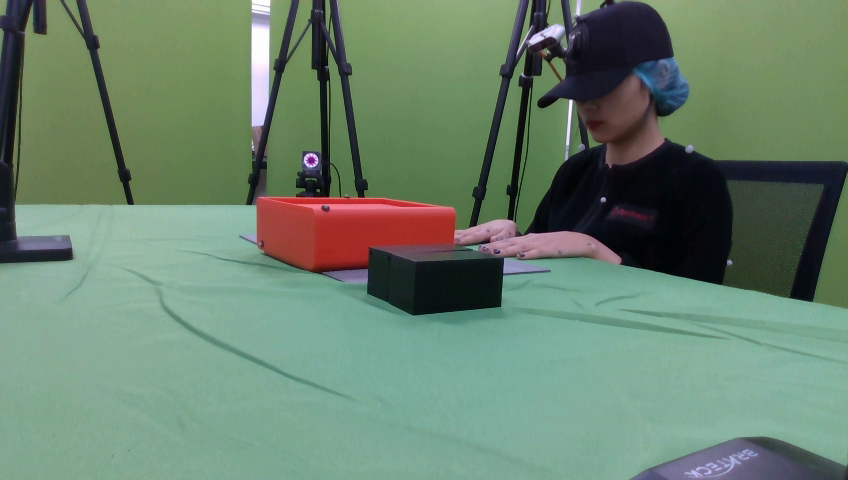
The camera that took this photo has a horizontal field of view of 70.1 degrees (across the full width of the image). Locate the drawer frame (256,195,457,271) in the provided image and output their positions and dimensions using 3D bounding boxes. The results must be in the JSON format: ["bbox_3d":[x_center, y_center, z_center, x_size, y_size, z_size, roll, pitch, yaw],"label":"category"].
[{"bbox_3d":[-0.096,-0.017,0.843,0.215,0.082,0.200,-4,10,-35],"label":"drawer frame"}]

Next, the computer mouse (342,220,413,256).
[{"bbox_3d":[-0.067,-0.004,0.853,0.063,0.041,0.116,1,13,-33],"label":"computer mouse"}]

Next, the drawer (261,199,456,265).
[{"bbox_3d":[-0.094,-0.017,0.844,0.213,0.073,0.193,-3,10,-34],"label":"drawer"}]
